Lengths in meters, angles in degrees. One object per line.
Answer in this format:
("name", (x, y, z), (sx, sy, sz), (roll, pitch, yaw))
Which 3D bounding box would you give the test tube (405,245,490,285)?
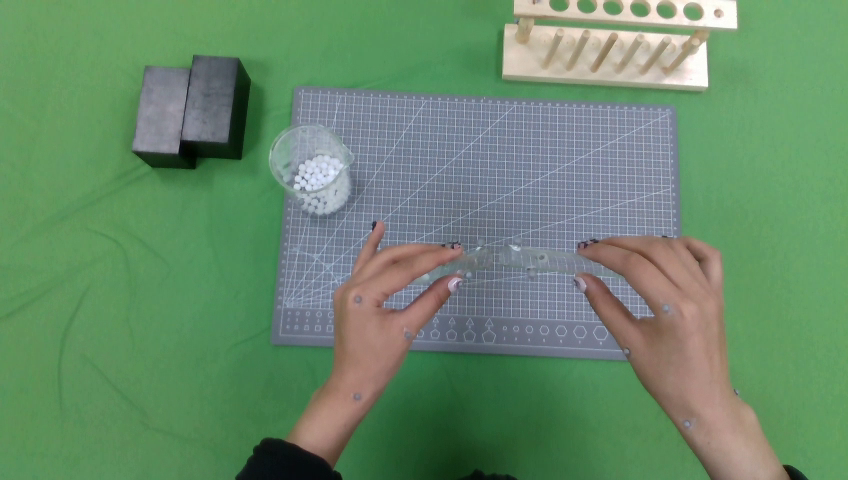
("test tube", (0.015, 0.023, 0.506), (0.017, 0.150, 0.017), (4, 79, -21))

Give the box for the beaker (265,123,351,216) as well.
("beaker", (-0.115, -0.070, 0.642), (0.084, 0.100, 0.073), (-5, 78, -3))

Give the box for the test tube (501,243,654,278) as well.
("test tube", (0.119, 0.016, 0.452), (0.151, 0.017, 0.017), (6, 75, -32))

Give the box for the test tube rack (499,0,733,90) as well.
("test tube rack", (0.213, -0.227, 0.692), (0.242, 0.085, 0.066), (3, 78, 0))
